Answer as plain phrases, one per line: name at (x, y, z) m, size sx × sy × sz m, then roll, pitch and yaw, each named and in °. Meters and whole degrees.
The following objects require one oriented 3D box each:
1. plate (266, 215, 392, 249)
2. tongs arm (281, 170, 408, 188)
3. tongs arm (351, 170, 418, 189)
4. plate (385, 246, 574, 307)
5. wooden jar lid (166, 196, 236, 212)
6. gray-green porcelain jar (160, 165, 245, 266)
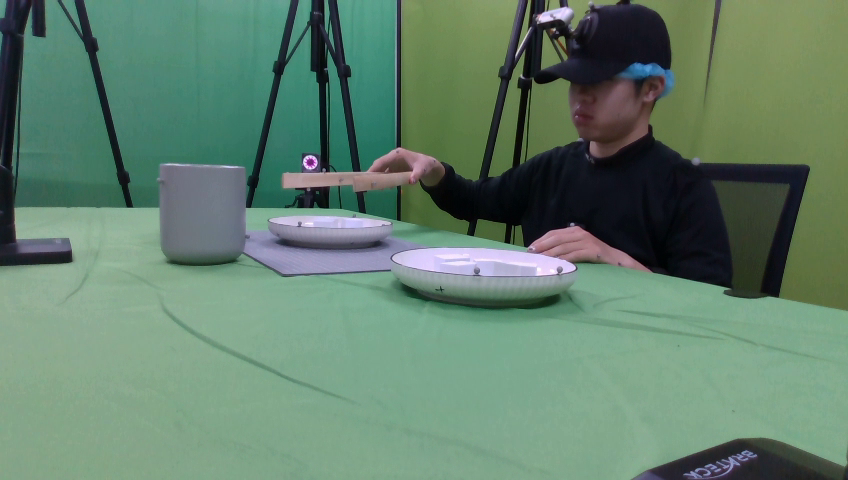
plate at (-0.159, -0.015, 1.019) m, size 0.209 × 0.038 × 0.209 m, roll 3°, pitch 7°, yaw 0°
tongs arm at (-0.132, -0.118, 1.155) m, size 0.050 × 0.026 × 0.386 m, roll 1°, pitch 7°, yaw 25°
tongs arm at (-0.065, -0.116, 1.129) m, size 0.028 × 0.028 × 0.388 m, roll -4°, pitch 6°, yaw 15°
plate at (0.060, 0.041, 0.678) m, size 0.208 × 0.039 × 0.207 m, roll 3°, pitch 7°, yaw 0°
wooden jar lid at (-0.369, -0.059, 1.001) m, size 0.108 × 0.020 × 0.108 m, roll 3°, pitch 6°, yaw 0°
gray-green porcelain jar at (-0.291, -0.034, 0.799) m, size 0.106 × 0.126 × 0.106 m, roll 2°, pitch 8°, yaw 0°
